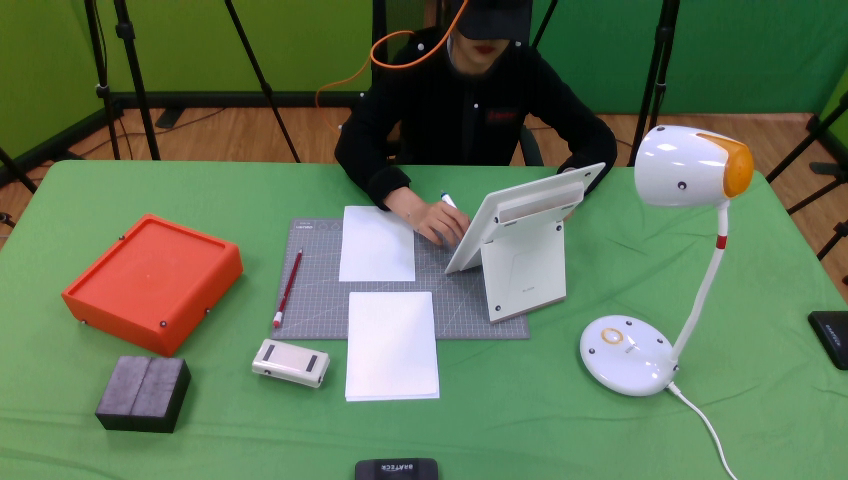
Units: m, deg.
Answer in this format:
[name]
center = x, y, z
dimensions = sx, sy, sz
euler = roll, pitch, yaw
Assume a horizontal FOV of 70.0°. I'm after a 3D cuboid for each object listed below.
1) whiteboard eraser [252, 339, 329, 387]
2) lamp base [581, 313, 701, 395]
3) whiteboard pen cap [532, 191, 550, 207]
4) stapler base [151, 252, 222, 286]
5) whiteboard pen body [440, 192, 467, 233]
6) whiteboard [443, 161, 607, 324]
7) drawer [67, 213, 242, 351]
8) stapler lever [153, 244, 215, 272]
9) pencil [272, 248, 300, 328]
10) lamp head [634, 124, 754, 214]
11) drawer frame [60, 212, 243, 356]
[whiteboard eraser]
center = -0.215, 0.199, 0.976
dimensions = 0.112, 0.042, 0.055
euler = 12, 45, 7
[lamp base]
center = 0.361, 0.144, 0.973
dimensions = 0.178, 0.181, 0.160
euler = 34, 53, 23
[whiteboard pen cap]
center = 0.225, -0.079, 1.167
dimensions = 0.033, 0.018, 0.018
euler = 33, 49, -5
[stapler base]
center = -0.432, 0.047, 1.102
dimensions = 0.130, 0.024, 0.041
euler = 17, 33, 12
[whiteboard pen body]
center = 0.071, -0.033, 1.151
dimensions = 0.017, 0.017, 0.140
euler = -25, 74, -25
[whiteboard]
center = 0.185, 0.026, 1.028
dimensions = 0.217, 0.306, 0.143
euler = -15, 68, -18
[drawer]
center = -0.461, 0.068, 1.056
dimensions = 0.194, 0.073, 0.211
euler = 19, 48, 13
[stapler lever]
center = -0.430, 0.025, 1.088
dimensions = 0.118, 0.040, 0.027
euler = 16, 33, 13
[pencil]
center = -0.248, 0.081, 1.104
dimensions = 0.012, 0.012, 0.193
euler = 6, 45, 1
[lamp head]
center = 0.351, -0.089, 0.775
dimensions = 0.112, 0.113, 0.122
euler = -30, 30, -28
[drawer frame]
center = -0.462, 0.070, 1.053
dimensions = 0.201, 0.083, 0.213
euler = 18, 48, 12
